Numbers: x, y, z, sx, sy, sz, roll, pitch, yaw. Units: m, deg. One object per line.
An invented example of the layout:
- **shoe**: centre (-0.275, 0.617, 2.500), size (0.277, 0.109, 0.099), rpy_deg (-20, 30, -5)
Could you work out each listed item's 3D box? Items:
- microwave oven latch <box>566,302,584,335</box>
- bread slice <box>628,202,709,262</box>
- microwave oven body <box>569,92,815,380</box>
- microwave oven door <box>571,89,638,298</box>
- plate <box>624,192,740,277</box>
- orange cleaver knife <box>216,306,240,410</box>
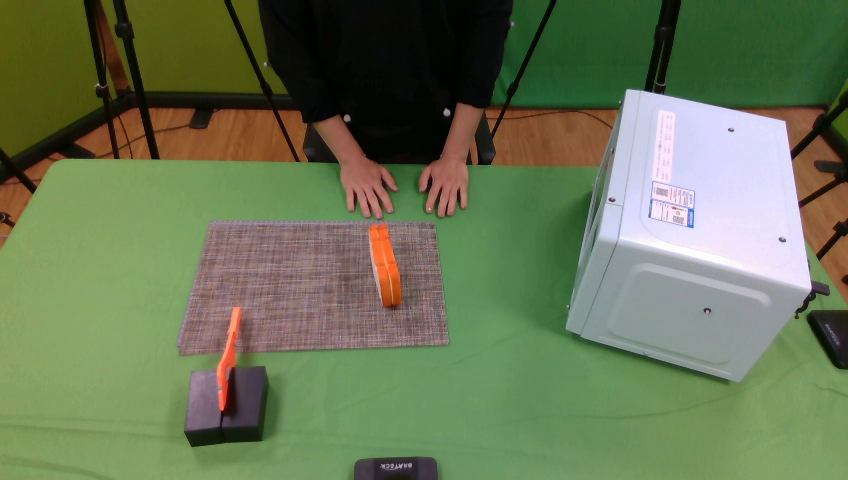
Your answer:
- **microwave oven latch**: centre (0.268, 0.126, 1.059), size (0.030, 0.029, 0.079), rpy_deg (16, 46, 12)
- **bread slice**: centre (0.474, -0.023, 1.165), size (0.134, 0.018, 0.106), rpy_deg (-28, 54, -16)
- **microwave oven body**: centre (0.468, -0.021, 1.082), size (0.325, 0.261, 0.440), rpy_deg (15, 46, 11)
- **microwave oven door**: centre (0.343, -0.091, 1.133), size (0.039, 0.245, 0.354), rpy_deg (15, 47, 10)
- **plate**: centre (0.480, -0.007, 1.143), size (0.208, 0.039, 0.206), rpy_deg (0, 48, 0)
- **orange cleaver knife**: centre (-0.307, 0.180, 0.957), size (0.012, 0.077, 0.210), rpy_deg (-2, 25, -8)
